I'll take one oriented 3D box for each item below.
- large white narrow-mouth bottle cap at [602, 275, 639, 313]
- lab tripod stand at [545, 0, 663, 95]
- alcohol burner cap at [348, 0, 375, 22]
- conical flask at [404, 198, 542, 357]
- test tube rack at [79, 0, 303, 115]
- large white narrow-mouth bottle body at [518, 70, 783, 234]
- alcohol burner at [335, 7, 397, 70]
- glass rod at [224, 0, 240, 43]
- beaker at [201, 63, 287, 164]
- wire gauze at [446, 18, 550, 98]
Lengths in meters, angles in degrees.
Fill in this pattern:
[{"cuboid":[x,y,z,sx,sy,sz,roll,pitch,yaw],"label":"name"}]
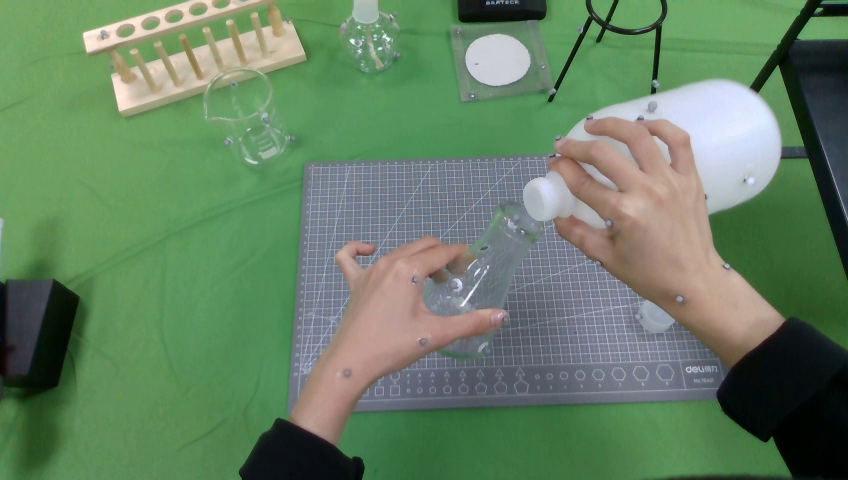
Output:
[{"cuboid":[0.209,0.058,0.646,0.038,0.024,0.037,-1,64,3],"label":"large white narrow-mouth bottle cap"},{"cuboid":[0.223,-0.237,0.723,0.148,0.132,0.147,1,64,-1],"label":"lab tripod stand"},{"cuboid":[-0.074,-0.289,0.722,0.034,0.048,0.033,4,63,-7],"label":"alcohol burner cap"},{"cuboid":[0.041,0.025,0.456,0.076,0.122,0.074,21,34,-15],"label":"conical flask"},{"cuboid":[-0.284,-0.245,0.760,0.242,0.086,0.066,-20,66,-9],"label":"test tube rack"},{"cuboid":[0.161,-0.058,0.454,0.195,0.102,0.101,-19,65,-18],"label":"large white narrow-mouth bottle body"},{"cuboid":[-0.073,-0.272,0.755,0.078,0.120,0.077,0,63,0],"label":"alcohol burner"},{"cuboid":[-0.239,-0.307,0.715,0.008,0.201,0.008,2,63,-3],"label":"glass rod"},{"cuboid":[-0.206,-0.139,0.702,0.084,0.101,0.073,-42,70,-17],"label":"beaker"},{"cuboid":[0.096,-0.244,0.797,0.121,0.011,0.124,-6,65,-3],"label":"wire gauze"}]
